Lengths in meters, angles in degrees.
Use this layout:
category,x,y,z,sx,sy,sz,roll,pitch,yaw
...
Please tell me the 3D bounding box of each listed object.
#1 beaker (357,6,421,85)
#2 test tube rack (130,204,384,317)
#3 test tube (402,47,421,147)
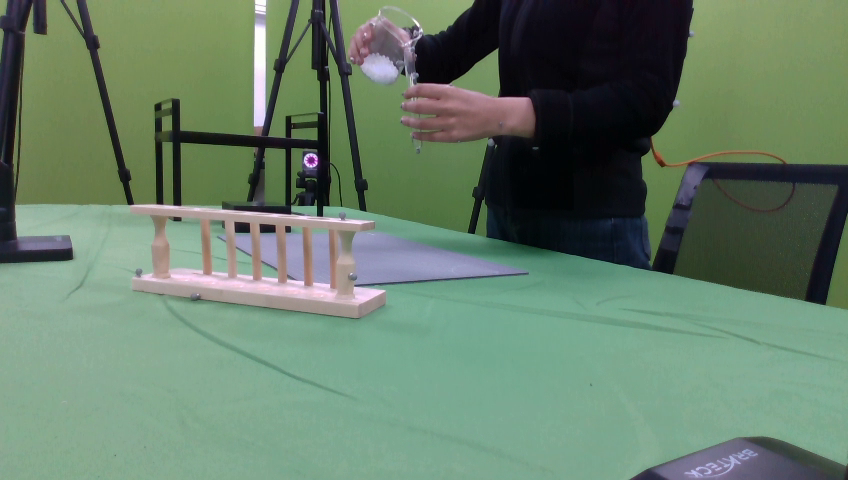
category,x,y,z,sx,sy,sz,roll,pitch,yaw
beaker,-0.058,-0.304,0.963,0.074,0.083,0.100,2,-35,-30
test tube rack,-0.163,0.013,0.589,0.242,0.085,0.067,5,8,17
test tube,-0.018,-0.213,0.905,0.017,0.150,0.017,-6,0,0
